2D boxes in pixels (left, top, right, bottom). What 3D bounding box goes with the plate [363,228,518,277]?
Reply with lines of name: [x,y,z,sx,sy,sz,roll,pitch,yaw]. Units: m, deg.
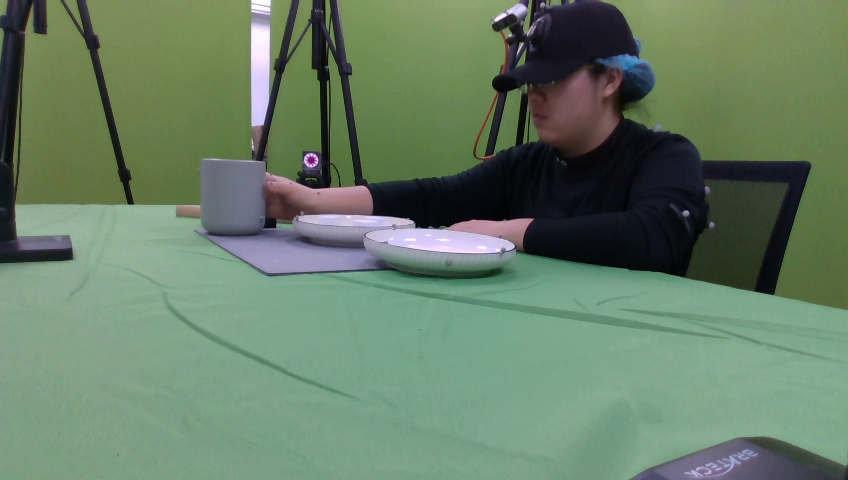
plate: [0.022,0.016,0.817,0.209,0.038,0.209,4,9,0]

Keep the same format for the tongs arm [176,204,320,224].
tongs arm: [-0.333,-0.052,1.273,0.387,0.028,0.028,4,5,4]

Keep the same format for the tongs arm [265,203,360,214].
tongs arm: [-0.313,-0.064,1.352,0.384,0.026,0.051,6,8,17]

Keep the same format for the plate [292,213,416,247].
plate: [-0.118,-0.017,1.024,0.208,0.039,0.207,2,8,0]

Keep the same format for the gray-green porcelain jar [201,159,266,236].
gray-green porcelain jar: [-0.326,-0.073,1.036,0.106,0.126,0.106,3,8,0]
